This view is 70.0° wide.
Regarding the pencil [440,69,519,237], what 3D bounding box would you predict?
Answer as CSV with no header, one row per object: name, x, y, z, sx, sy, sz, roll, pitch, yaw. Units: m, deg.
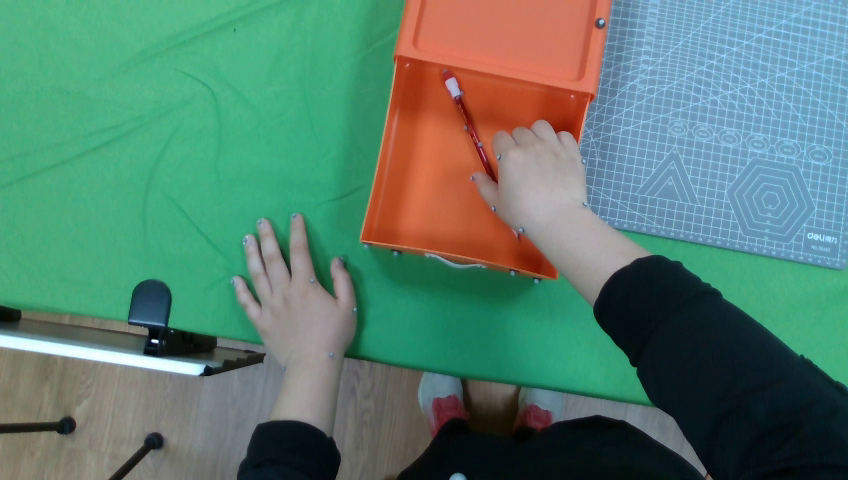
pencil,0.060,-0.092,0.640,0.012,0.012,0.194,-24,88,-3

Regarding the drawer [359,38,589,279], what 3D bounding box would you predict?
drawer,0.051,-0.077,0.611,0.194,0.073,0.211,11,87,1

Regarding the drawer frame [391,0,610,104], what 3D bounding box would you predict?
drawer frame,0.085,-0.253,0.625,0.202,0.083,0.213,10,83,1
